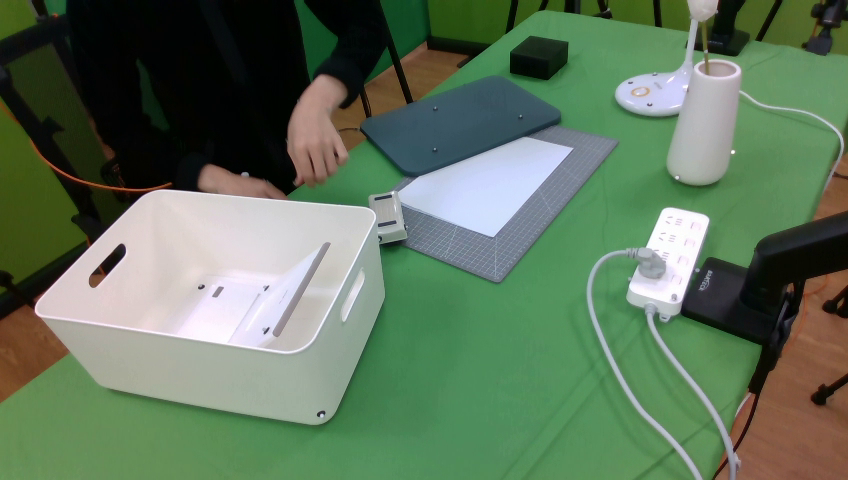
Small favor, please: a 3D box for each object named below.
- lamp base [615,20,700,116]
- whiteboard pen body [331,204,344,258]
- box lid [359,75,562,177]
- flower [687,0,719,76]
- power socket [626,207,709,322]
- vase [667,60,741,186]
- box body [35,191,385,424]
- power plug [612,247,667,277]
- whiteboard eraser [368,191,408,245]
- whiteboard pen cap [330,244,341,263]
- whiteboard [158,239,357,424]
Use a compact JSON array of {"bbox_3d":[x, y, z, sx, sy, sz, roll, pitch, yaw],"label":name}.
[{"bbox_3d":[0.484,-0.364,1.211,0.180,0.181,0.159,-15,41,-14],"label":"lamp base"},{"bbox_3d":[-0.146,-0.016,1.020,0.017,0.017,0.140,-7,40,0],"label":"whiteboard pen body"},{"bbox_3d":[0.074,-0.249,1.267,0.373,0.015,0.261,-23,42,-18],"label":"box lid"},{"bbox_3d":[0.436,-0.242,0.934,0.038,0.364,0.043,-24,49,9],"label":"flower"},{"bbox_3d":[0.360,0.026,0.886,0.072,0.033,0.227,17,46,27],"label":"power socket"},{"bbox_3d":[0.463,-0.189,0.994,0.098,0.201,0.097,-4,40,3],"label":"vase"},{"bbox_3d":[-0.254,0.081,0.807,0.363,0.161,0.253,5,42,14],"label":"box body"},{"bbox_3d":[0.306,0.031,0.852,0.072,0.053,0.035,21,48,38],"label":"power plug"},{"bbox_3d":[-0.061,-0.035,1.005,0.056,0.042,0.112,-9,40,-4],"label":"whiteboard eraser"},{"bbox_3d":[-0.142,0.021,0.975,0.018,0.018,0.033,-7,39,0],"label":"whiteboard pen cap"},{"bbox_3d":[-0.242,0.093,0.809,0.304,0.144,0.216,5,44,13],"label":"whiteboard"}]
